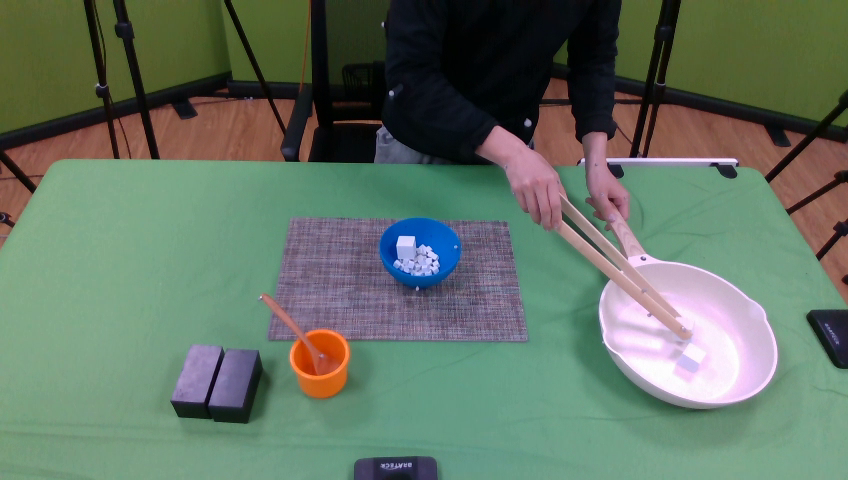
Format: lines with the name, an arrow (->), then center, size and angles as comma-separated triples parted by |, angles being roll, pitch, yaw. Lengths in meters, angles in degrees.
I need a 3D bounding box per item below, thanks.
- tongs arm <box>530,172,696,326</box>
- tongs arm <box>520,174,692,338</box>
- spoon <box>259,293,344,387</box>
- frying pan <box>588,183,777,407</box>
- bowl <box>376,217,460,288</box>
tongs arm -> 0.325, 0.016, 1.052 | 0.387, 0.028, 0.028 | 43, 56, -1
tongs arm -> 0.313, 0.029, 1.039 | 0.385, 0.026, 0.050 | 39, 53, -4
spoon -> -0.191, 0.155, 0.947 | 0.021, 0.194, 0.041 | -13, 27, 50
frying pan -> 0.412, 0.079, 1.097 | 0.307, 0.103, 0.484 | -9, 56, -14
bowl -> -0.012, 0.036, 1.118 | 0.151, 0.077, 0.150 | 2, 46, -2
